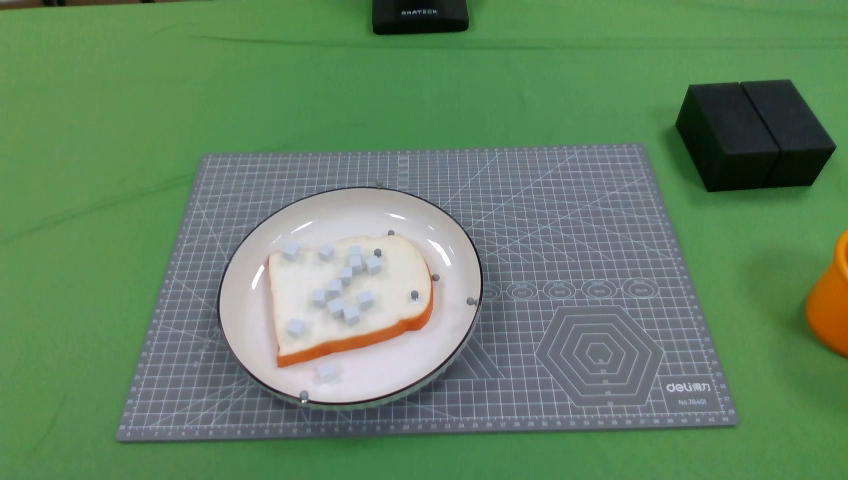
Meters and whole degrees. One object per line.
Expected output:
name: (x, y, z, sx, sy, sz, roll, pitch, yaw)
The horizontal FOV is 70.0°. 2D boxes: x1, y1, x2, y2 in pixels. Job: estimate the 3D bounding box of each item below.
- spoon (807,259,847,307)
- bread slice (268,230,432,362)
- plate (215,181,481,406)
spoon: (0.374, 0.017, 0.423, 0.193, 0.022, 0.041, -17, 40, 42)
bread slice: (-0.061, 0.036, 0.494, 0.132, 0.019, 0.103, -14, 53, -8)
plate: (-0.058, 0.039, 0.488, 0.209, 0.038, 0.207, 0, 52, 1)
